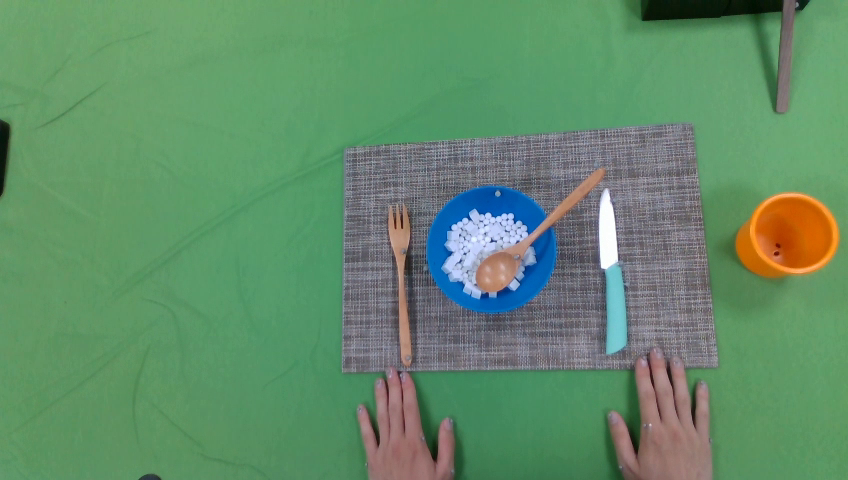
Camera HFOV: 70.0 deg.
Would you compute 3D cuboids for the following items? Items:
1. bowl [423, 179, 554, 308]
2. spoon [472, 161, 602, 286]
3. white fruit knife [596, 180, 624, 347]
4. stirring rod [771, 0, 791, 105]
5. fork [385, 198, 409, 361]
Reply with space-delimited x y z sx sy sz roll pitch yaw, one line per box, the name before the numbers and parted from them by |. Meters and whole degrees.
bowl | 0.078 0.010 0.727 0.151 0.077 0.150 -2 78 8
spoon | 0.129 -0.018 0.690 0.194 0.022 0.041 -45 81 17
white fruit knife | 0.225 0.025 0.735 0.027 0.016 0.206 0 78 -3
stirring rod | 0.437 -0.254 0.739 0.014 0.006 0.176 0 99 5
fork | -0.031 0.048 0.765 0.028 0.019 0.206 -4 77 -3
